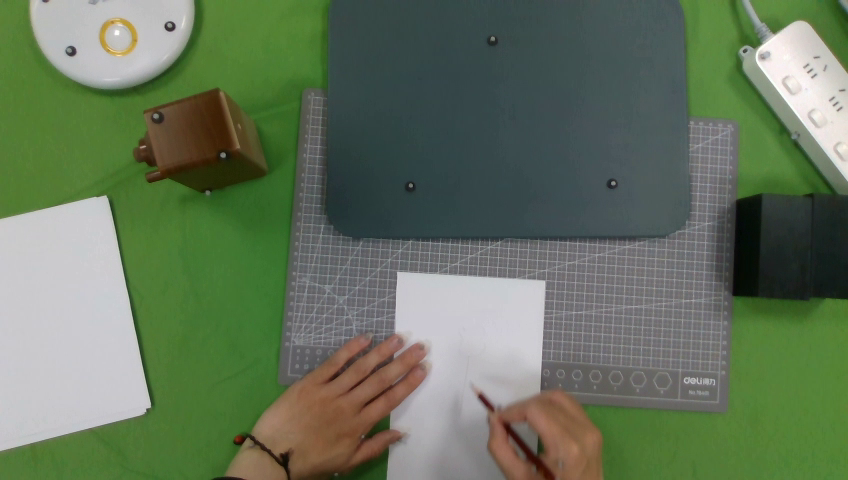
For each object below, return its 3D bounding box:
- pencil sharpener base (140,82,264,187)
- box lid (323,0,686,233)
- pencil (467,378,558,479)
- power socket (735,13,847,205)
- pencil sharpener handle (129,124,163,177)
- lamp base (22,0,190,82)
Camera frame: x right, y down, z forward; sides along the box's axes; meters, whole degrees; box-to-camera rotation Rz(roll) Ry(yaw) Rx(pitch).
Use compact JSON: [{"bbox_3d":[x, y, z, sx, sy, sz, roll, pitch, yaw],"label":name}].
[{"bbox_3d":[-0.202,-0.093,0.559,0.077,0.107,0.061,-17,87,-2],"label":"pencil sharpener base"},{"bbox_3d":[0.084,-0.138,0.617,0.372,0.015,0.262,0,87,-2],"label":"box lid"},{"bbox_3d":[0.088,0.179,0.516,0.012,0.192,0.012,-17,126,-24],"label":"pencil"},{"bbox_3d":[0.412,-0.130,0.617,0.072,0.032,0.226,-36,88,-4],"label":"power socket"},{"bbox_3d":[-0.250,-0.075,0.544,0.030,0.068,0.036,-17,75,-2],"label":"pencil sharpener handle"},{"bbox_3d":[-0.319,-0.252,0.526,0.160,0.180,0.179,-27,85,-3],"label":"lamp base"}]
